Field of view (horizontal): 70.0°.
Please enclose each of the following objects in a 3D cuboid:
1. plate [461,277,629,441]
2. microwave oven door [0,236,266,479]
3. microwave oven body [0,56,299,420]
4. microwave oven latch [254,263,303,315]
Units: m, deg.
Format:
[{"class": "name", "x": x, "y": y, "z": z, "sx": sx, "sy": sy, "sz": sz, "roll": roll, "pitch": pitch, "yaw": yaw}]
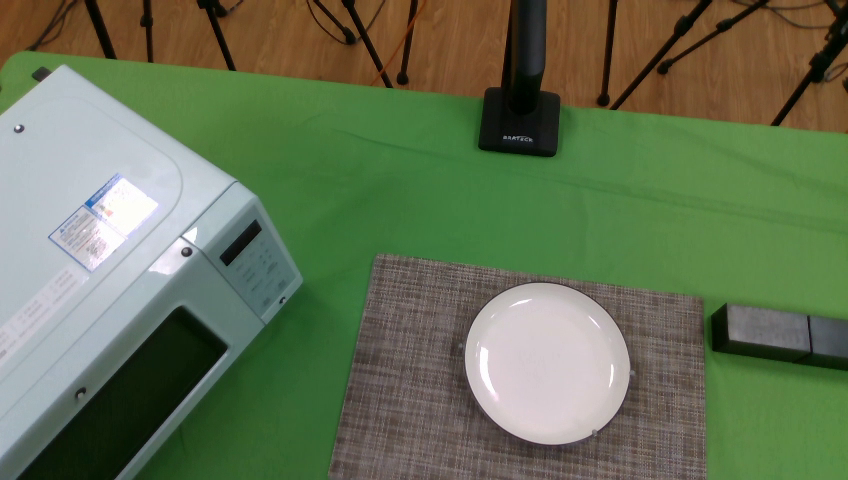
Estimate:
[{"class": "plate", "x": 0.150, "y": 0.149, "z": 0.769, "sx": 0.208, "sy": 0.039, "sz": 0.206, "roll": 0, "pitch": 65, "yaw": 1}, {"class": "microwave oven door", "x": -0.327, "y": 0.178, "z": 0.638, "sx": 0.039, "sy": 0.245, "sz": 0.355, "roll": 33, "pitch": 70, "yaw": 16}, {"class": "microwave oven body", "x": -0.421, "y": 0.072, "z": 0.693, "sx": 0.324, "sy": 0.262, "sz": 0.440, "roll": 33, "pitch": 71, "yaw": 15}, {"class": "microwave oven latch", "x": -0.194, "y": 0.059, "z": 0.801, "sx": 0.030, "sy": 0.030, "sz": 0.079, "roll": 35, "pitch": 71, "yaw": 15}]
